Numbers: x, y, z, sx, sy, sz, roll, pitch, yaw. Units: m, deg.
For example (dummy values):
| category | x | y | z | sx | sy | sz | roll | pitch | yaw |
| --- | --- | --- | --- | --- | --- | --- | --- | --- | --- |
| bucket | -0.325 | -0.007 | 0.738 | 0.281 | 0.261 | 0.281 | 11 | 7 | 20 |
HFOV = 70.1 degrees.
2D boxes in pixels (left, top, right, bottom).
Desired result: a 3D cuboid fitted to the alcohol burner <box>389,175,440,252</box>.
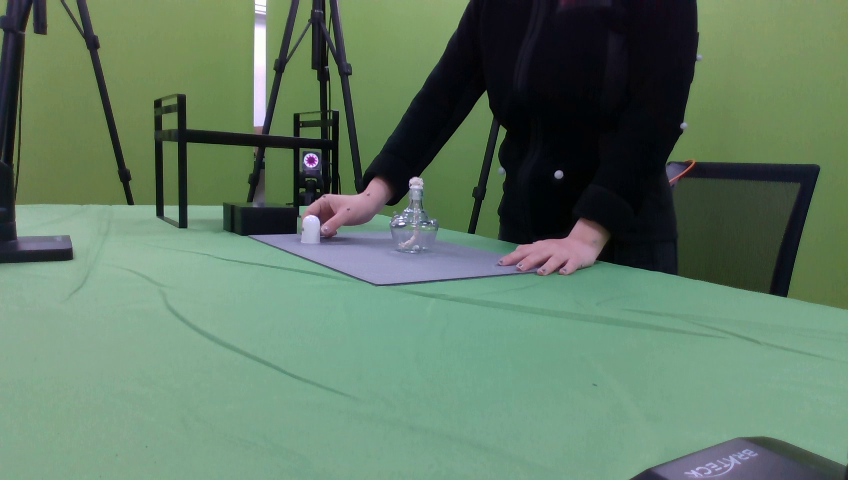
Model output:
| category | x | y | z | sx | sy | sz | roll | pitch | yaw |
| --- | --- | --- | --- | --- | --- | --- | --- | --- | --- |
| alcohol burner | -0.013 | -0.041 | 0.929 | 0.078 | 0.119 | 0.078 | 4 | 8 | 0 |

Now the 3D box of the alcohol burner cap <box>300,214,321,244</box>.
| category | x | y | z | sx | sy | sz | roll | pitch | yaw |
| --- | --- | --- | --- | --- | --- | --- | --- | --- | --- |
| alcohol burner cap | -0.184 | -0.018 | 0.977 | 0.034 | 0.048 | 0.034 | 2 | 8 | 0 |
